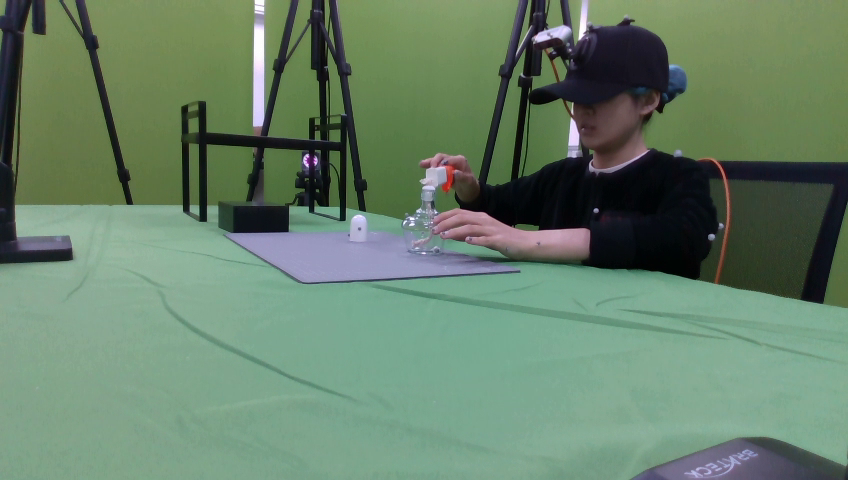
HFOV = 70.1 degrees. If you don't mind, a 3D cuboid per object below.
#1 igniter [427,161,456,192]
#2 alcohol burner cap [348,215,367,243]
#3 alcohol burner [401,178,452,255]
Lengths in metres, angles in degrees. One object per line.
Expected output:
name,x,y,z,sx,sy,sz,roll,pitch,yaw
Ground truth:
igniter,0.033,-0.112,1.063,0.025,0.057,0.277,-3,6,9
alcohol burner cap,-0.112,-0.018,1.025,0.034,0.048,0.034,2,6,0
alcohol burner,0.005,-0.036,0.923,0.078,0.119,0.078,5,7,0
